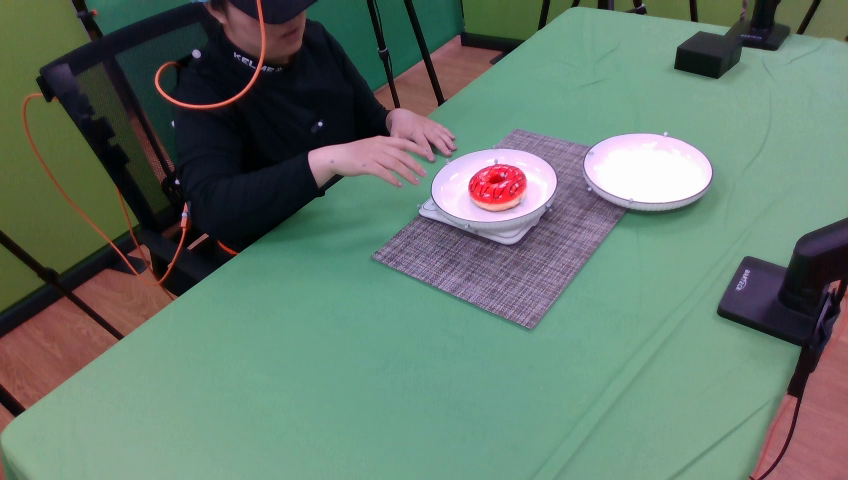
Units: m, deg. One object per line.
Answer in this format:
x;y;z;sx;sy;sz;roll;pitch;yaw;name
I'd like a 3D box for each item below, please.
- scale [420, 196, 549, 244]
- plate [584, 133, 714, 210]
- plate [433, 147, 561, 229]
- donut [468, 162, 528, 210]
0.106;-0.064;1.029;0.199;0.032;0.149;21;48;32;scale
0.379;-0.113;1.030;0.209;0.038;0.208;-4;41;4;plate
0.120;-0.082;0.996;0.207;0.039;0.206;-6;40;5;plate
0.121;-0.088;0.985;0.099;0.048;0.098;-7;42;7;donut
